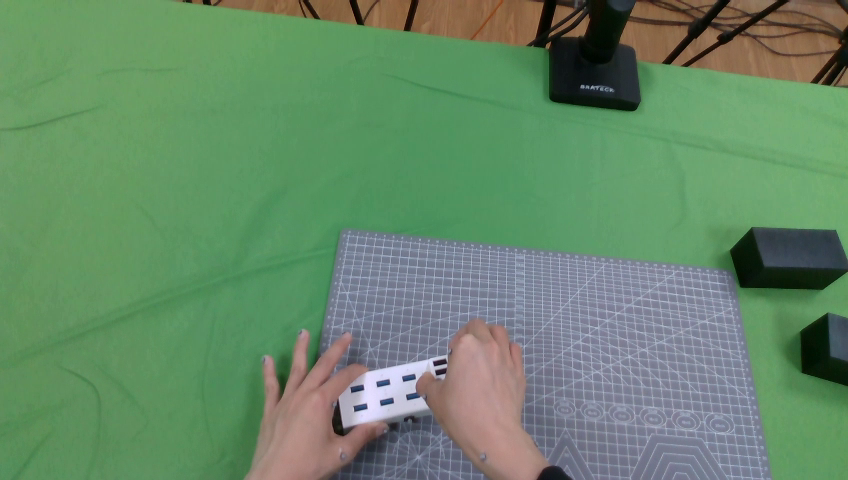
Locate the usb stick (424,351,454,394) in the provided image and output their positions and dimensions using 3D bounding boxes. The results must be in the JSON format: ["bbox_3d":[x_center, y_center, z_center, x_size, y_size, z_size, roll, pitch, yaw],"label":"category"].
[{"bbox_3d":[0.013,0.126,0.564,0.021,0.059,0.027,-14,60,-8],"label":"usb stick"}]

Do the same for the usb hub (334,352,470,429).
[{"bbox_3d":[-0.022,0.144,0.585,0.125,0.025,0.049,-9,60,-10],"label":"usb hub"}]
